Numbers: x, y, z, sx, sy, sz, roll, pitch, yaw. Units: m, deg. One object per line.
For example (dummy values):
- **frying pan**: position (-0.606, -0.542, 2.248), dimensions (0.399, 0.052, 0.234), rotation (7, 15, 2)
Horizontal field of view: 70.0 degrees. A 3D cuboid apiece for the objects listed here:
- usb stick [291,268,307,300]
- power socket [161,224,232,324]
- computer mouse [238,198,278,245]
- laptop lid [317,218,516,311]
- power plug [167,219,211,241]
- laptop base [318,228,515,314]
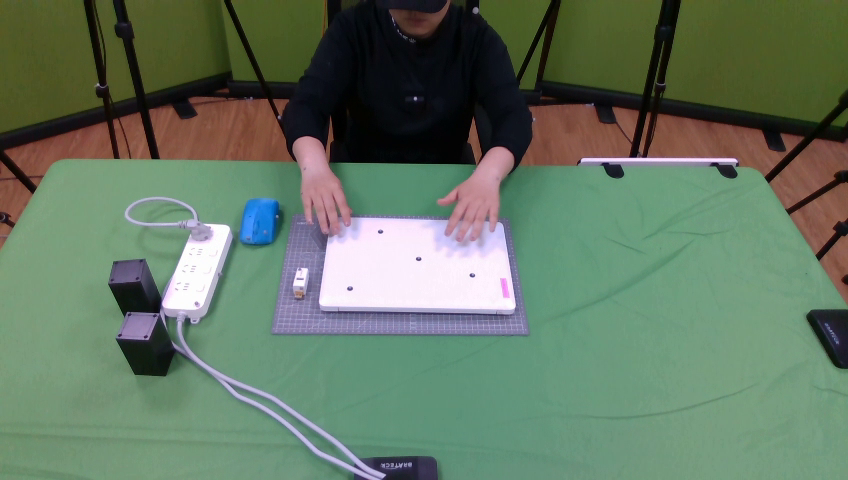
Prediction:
- **usb stick**: position (-0.226, 0.081, 1.093), dimensions (0.021, 0.027, 0.059), rotation (5, 48, -2)
- **power socket**: position (-0.412, 0.052, 1.107), dimensions (0.072, 0.033, 0.225), rotation (4, 45, -1)
- **computer mouse**: position (-0.328, -0.040, 1.200), dimensions (0.063, 0.041, 0.116), rotation (3, 50, -4)
- **laptop lid**: position (-0.013, 0.040, 1.143), dimensions (0.357, 0.013, 0.240), rotation (3, 43, -2)
- **power plug**: position (-0.438, -0.017, 1.143), dimensions (0.072, 0.053, 0.035), rotation (9, 43, 7)
- **laptop base**: position (-0.013, 0.049, 1.150), dimensions (0.354, 0.023, 0.234), rotation (1, 43, -3)
